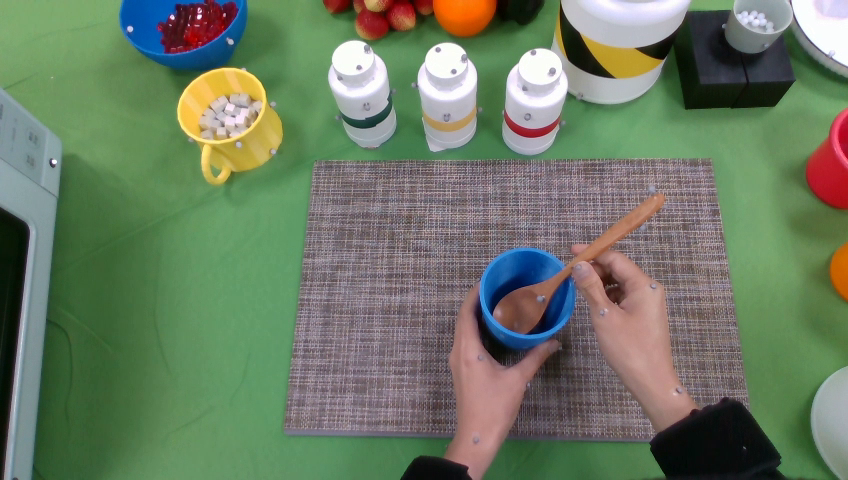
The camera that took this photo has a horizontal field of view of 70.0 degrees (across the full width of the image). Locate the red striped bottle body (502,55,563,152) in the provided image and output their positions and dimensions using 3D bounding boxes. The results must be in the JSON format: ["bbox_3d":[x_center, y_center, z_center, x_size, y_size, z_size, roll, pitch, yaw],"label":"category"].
[{"bbox_3d":[0.115,-0.151,0.650,0.063,0.120,0.062,-3,66,7],"label":"red striped bottle body"}]

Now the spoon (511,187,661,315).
[{"bbox_3d":[0.128,0.020,0.530,0.194,0.022,0.041,-46,62,33],"label":"spoon"}]

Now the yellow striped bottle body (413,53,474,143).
[{"bbox_3d":[0.023,-0.162,0.660,0.063,0.121,0.062,-2,68,4],"label":"yellow striped bottle body"}]

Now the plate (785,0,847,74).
[{"bbox_3d":[0.525,-0.272,0.713,0.209,0.038,0.207,-1,69,3],"label":"plate"}]

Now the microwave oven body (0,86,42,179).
[{"bbox_3d":[-0.567,0.055,0.536,0.326,0.262,0.438,-9,69,0],"label":"microwave oven body"}]

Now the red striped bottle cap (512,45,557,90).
[{"bbox_3d":[0.110,-0.172,0.602,0.044,0.018,0.044,0,68,0],"label":"red striped bottle cap"}]

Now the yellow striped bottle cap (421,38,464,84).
[{"bbox_3d":[0.019,-0.181,0.612,0.044,0.019,0.044,-1,70,3],"label":"yellow striped bottle cap"}]

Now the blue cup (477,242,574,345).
[{"bbox_3d":[0.090,0.059,0.577,0.092,0.101,0.092,0,68,1],"label":"blue cup"}]

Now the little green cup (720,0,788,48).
[{"bbox_3d":[0.356,-0.242,0.659,0.061,0.039,0.061,-1,68,2],"label":"little green cup"}]

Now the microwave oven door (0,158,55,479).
[{"bbox_3d":[-0.417,0.070,0.515,0.039,0.245,0.353,-9,69,1],"label":"microwave oven door"}]

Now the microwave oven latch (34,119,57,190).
[{"bbox_3d":[-0.439,-0.095,0.689,0.030,0.030,0.078,-7,69,1],"label":"microwave oven latch"}]

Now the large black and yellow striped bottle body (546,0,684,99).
[{"bbox_3d":[0.205,-0.254,0.649,0.131,0.185,0.130,-1,69,4],"label":"large black and yellow striped bottle body"}]

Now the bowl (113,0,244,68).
[{"bbox_3d":[-0.285,-0.266,0.742,0.151,0.077,0.150,-1,69,3],"label":"bowl"}]

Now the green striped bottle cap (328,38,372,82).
[{"bbox_3d":[-0.076,-0.184,0.619,0.044,0.020,0.044,-1,68,3],"label":"green striped bottle cap"}]

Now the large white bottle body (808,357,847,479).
[{"bbox_3d":[0.417,0.139,0.483,0.130,0.186,0.129,-1,68,4],"label":"large white bottle body"}]

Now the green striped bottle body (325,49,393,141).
[{"bbox_3d":[-0.072,-0.165,0.668,0.063,0.120,0.062,-1,68,3],"label":"green striped bottle body"}]

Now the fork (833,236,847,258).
[{"bbox_3d":[0.474,0.032,0.540,0.028,0.019,0.205,-34,26,-14],"label":"fork"}]

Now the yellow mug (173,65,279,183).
[{"bbox_3d":[-0.229,-0.126,0.691,0.100,0.064,0.130,9,70,6],"label":"yellow mug"}]
